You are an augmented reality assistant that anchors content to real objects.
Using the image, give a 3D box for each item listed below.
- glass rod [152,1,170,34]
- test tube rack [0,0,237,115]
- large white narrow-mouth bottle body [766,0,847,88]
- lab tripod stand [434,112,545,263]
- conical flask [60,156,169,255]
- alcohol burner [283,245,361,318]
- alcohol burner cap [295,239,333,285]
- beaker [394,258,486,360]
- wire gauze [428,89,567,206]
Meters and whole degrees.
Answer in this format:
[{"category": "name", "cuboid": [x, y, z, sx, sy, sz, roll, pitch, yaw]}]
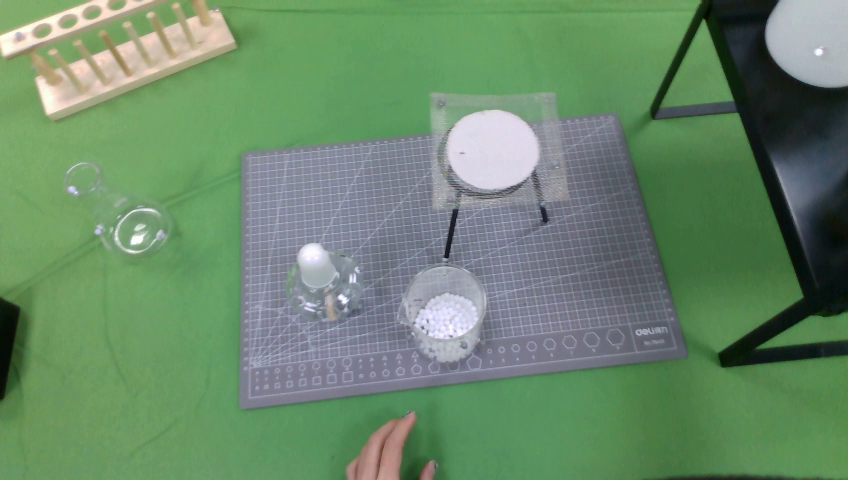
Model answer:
[{"category": "glass rod", "cuboid": [-0.323, -0.309, 0.690, 0.008, 0.201, 0.008, 2, 64, -3]}, {"category": "test tube rack", "cuboid": [-0.365, -0.246, 0.736, 0.242, 0.086, 0.066, -25, 68, -9]}, {"category": "large white narrow-mouth bottle body", "cuboid": [0.349, -0.212, 0.452, 0.102, 0.196, 0.101, 0, 64, 1]}, {"category": "lab tripod stand", "cuboid": [0.060, -0.057, 0.616, 0.148, 0.132, 0.147, 0, 65, 0]}, {"category": "conical flask", "cuboid": [-0.323, -0.039, 0.626, 0.075, 0.123, 0.075, -1, 66, 2]}, {"category": "alcohol burner", "cuboid": [-0.102, 0.034, 0.592, 0.078, 0.120, 0.077, 0, 65, 0]}, {"category": "alcohol burner cap", "cuboid": [-0.104, 0.017, 0.559, 0.034, 0.048, 0.033, 1, 60, -1]}, {"category": "beaker", "cuboid": [0.016, 0.072, 0.580, 0.084, 0.101, 0.073, -18, 66, -5]}, {"category": "wire gauze", "cuboid": [0.065, -0.089, 0.556, 0.121, 0.011, 0.124, -1, 67, -1]}]
